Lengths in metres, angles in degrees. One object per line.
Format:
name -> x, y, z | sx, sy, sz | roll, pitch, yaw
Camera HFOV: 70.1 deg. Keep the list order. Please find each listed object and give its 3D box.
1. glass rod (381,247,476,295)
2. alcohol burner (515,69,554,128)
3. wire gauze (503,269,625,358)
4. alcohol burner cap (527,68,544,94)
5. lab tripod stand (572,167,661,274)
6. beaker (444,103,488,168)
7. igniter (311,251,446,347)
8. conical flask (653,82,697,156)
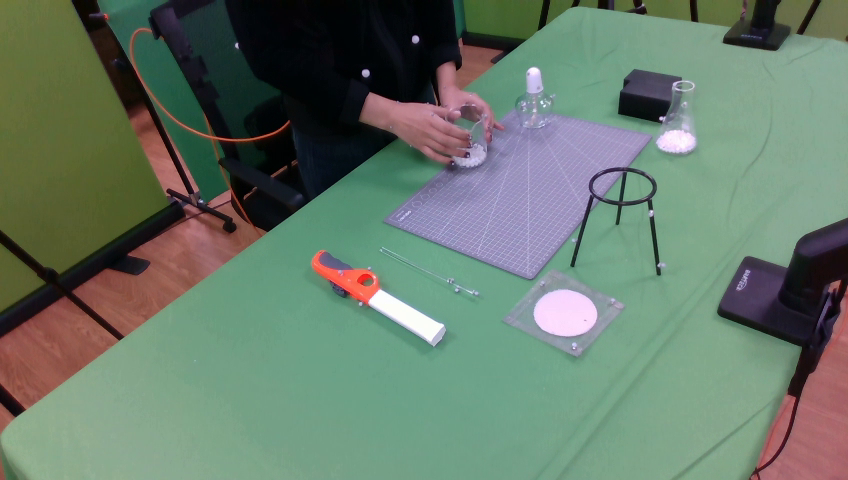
glass rod -> 0.002, 0.046, 0.939 | 0.198, 0.008, 0.008 | 24, 51, 36
alcohol burner -> 0.221, -0.285, 1.203 | 0.078, 0.119, 0.077 | -4, 39, 4
wire gauze -> 0.194, 0.100, 0.840 | 0.120, 0.011, 0.125 | 27, 54, 36
alcohol burner cap -> 0.216, -0.312, 1.179 | 0.034, 0.048, 0.033 | -10, 40, 9
lab tripod stand -> 0.283, -0.030, 0.879 | 0.148, 0.132, 0.147 | -7, 38, 6
beaker -> 0.082, -0.189, 1.119 | 0.074, 0.101, 0.083 | -12, 44, -2
igniter -> -0.078, 0.081, 0.899 | 0.274, 0.025, 0.057 | 27, 63, 35
conical flask -> 0.454, -0.218, 1.077 | 0.075, 0.122, 0.075 | -5, 40, 5
